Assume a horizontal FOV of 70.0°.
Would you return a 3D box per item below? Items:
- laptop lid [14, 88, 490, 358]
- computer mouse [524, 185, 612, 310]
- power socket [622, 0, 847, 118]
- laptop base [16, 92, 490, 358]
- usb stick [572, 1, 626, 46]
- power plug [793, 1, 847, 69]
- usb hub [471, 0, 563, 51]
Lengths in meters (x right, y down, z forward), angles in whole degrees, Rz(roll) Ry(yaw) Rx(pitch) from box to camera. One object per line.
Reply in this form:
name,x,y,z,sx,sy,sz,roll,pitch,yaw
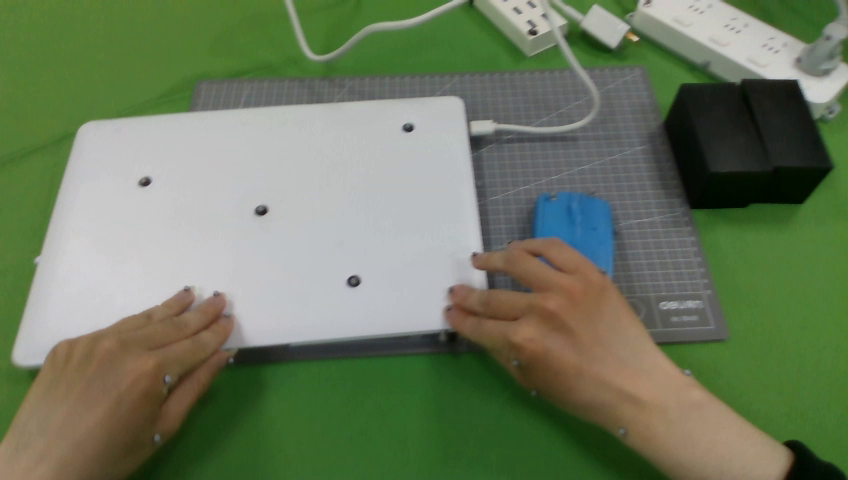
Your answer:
laptop lid,-0.133,-0.028,0.498,0.357,0.013,0.239,-3,60,-1
computer mouse,0.114,0.000,0.476,0.062,0.041,0.116,8,54,8
power socket,0.308,-0.198,0.605,0.072,0.033,0.225,-39,65,-22
laptop base,-0.133,-0.023,0.509,0.354,0.023,0.233,-4,61,-2
usb stick,0.184,-0.220,0.622,0.059,0.021,0.027,28,105,-1
power plug,0.380,-0.183,0.568,0.072,0.053,0.035,-31,61,-15
usb hub,0.090,-0.253,0.647,0.049,0.025,0.124,-28,61,-16
